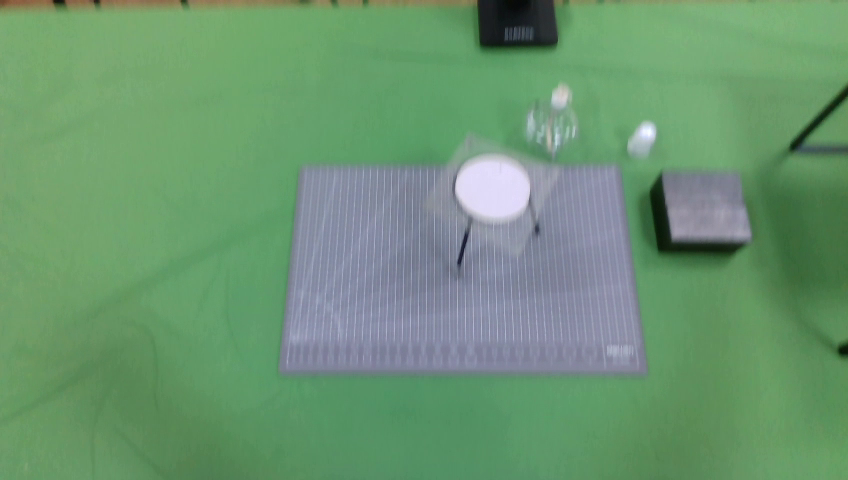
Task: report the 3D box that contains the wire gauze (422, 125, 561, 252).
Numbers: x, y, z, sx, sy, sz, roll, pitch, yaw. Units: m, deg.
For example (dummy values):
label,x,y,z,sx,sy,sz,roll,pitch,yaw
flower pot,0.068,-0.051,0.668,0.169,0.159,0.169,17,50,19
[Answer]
label,x,y,z,sx,sy,sz,roll,pitch,yaw
wire gauze,0.077,-0.064,0.686,0.124,0.011,0.121,27,70,10

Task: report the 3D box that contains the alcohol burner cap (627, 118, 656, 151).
label,x,y,z,sx,sy,sz,roll,pitch,yaw
alcohol burner cap,0.305,-0.150,0.845,0.034,0.048,0.033,-1,67,2

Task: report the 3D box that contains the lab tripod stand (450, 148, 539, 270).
label,x,y,z,sx,sy,sz,roll,pitch,yaw
lab tripod stand,0.080,-0.044,0.750,0.148,0.132,0.147,0,66,0

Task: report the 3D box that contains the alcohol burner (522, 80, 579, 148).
label,x,y,z,sx,sy,sz,roll,pitch,yaw
alcohol burner,0.173,-0.176,0.817,0.078,0.120,0.077,0,67,0
